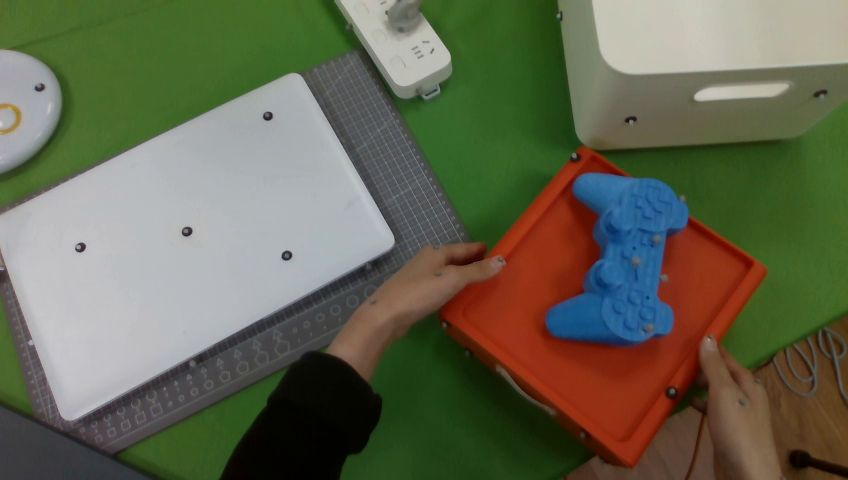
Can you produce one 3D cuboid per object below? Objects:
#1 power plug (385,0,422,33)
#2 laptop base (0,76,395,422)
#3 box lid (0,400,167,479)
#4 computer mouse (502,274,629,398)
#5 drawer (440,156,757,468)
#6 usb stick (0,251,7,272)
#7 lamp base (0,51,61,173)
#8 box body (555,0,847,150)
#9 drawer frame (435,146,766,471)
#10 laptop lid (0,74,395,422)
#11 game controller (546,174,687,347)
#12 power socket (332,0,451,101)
[{"bbox_3d":[-0.007,-0.250,0.664,0.072,0.053,0.035,-19,70,-5],"label":"power plug"},{"bbox_3d":[-0.235,-0.004,0.622,0.354,0.023,0.234,-29,76,-7],"label":"laptop base"},{"bbox_3d":[-0.375,0.299,0.531,0.370,0.015,0.262,21,74,9],"label":"box lid"},{"bbox_3d":[0.129,0.086,0.559,0.063,0.041,0.116,-42,71,-8],"label":"computer mouse"},{"bbox_3d":[0.154,0.060,0.551,0.193,0.074,0.211,38,76,15],"label":"drawer"},{"bbox_3d":[-0.441,0.022,0.609,0.059,0.027,0.021,-25,67,-8],"label":"usb stick"},{"bbox_3d":[-0.503,-0.171,0.606,0.178,0.181,0.160,20,73,12],"label":"lamp base"},{"bbox_3d":[0.267,-0.283,0.618,0.254,0.161,0.361,-3,71,1],"label":"box body"},{"bbox_3d":[0.153,0.057,0.551,0.200,0.083,0.213,38,77,15],"label":"drawer frame"},{"bbox_3d":[-0.234,-0.006,0.611,0.357,0.013,0.240,-27,75,-6],"label":"laptop lid"},{"bbox_3d":[0.165,0.016,0.511,0.097,0.052,0.154,14,73,4],"label":"game controller"},{"bbox_3d":[-0.048,-0.254,0.692,0.072,0.033,0.225,-29,72,-9],"label":"power socket"}]
